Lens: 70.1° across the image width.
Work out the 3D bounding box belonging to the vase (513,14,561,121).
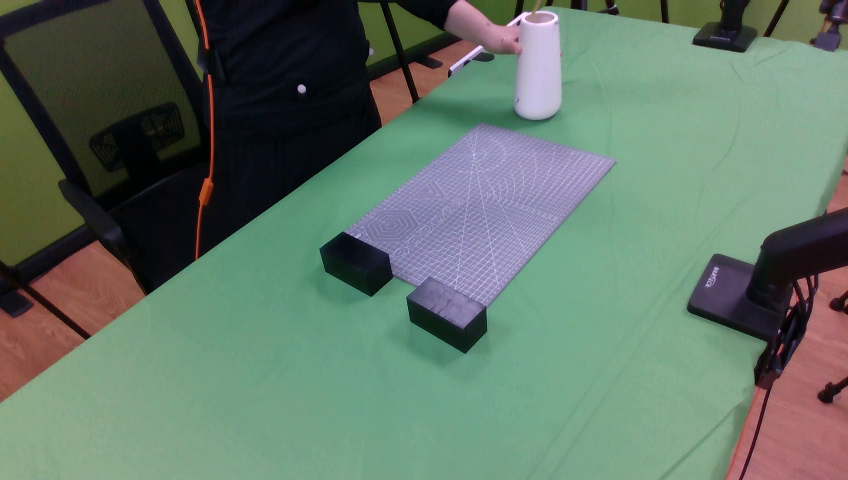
[{"bbox_3d":[0.225,-0.336,1.197,0.098,0.201,0.097,-5,42,5],"label":"vase"}]

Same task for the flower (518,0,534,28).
[{"bbox_3d":[0.234,-0.505,0.991,0.044,0.361,0.038,-8,56,-29],"label":"flower"}]
